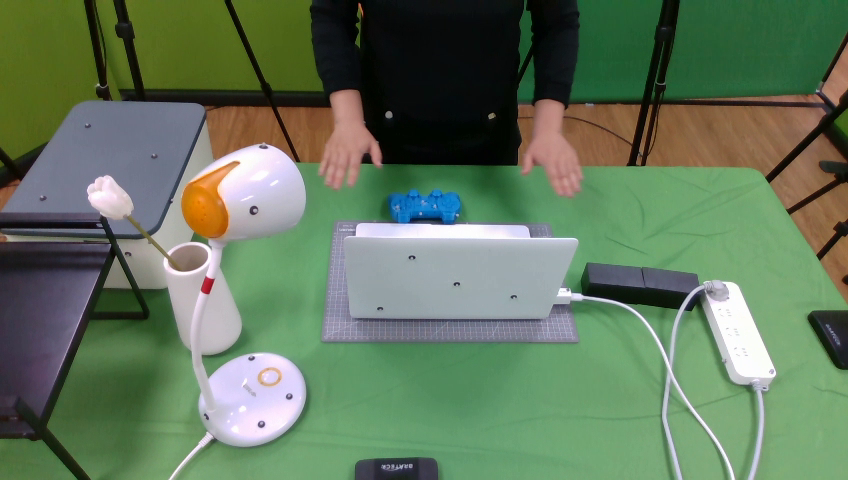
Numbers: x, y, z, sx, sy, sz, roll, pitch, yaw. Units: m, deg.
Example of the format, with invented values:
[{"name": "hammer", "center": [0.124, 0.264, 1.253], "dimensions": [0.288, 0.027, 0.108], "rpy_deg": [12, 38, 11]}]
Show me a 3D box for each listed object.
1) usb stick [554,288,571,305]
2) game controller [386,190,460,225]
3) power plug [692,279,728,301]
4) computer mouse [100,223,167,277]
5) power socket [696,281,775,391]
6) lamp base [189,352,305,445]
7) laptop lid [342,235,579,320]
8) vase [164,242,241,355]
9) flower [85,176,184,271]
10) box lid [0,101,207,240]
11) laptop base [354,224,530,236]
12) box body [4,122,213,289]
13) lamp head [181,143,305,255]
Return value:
[{"name": "usb stick", "center": [0.236, 0.103, 1.101], "dimensions": [0.059, 0.027, 0.021], "rpy_deg": [-2, 46, 1]}, {"name": "game controller", "center": [-0.001, -0.073, 1.251], "dimensions": [0.155, 0.052, 0.096], "rpy_deg": [-2, 48, -5]}, {"name": "power plug", "center": [0.522, 0.092, 1.115], "dimensions": [0.072, 0.053, 0.035], "rpy_deg": [8, 46, 7]}, {"name": "computer mouse", "center": [-0.539, 0.014, 1.123], "dimensions": [0.062, 0.041, 0.117], "rpy_deg": [30, 57, 18]}, {"name": "power socket", "center": [0.550, 0.160, 1.078], "dimensions": [0.072, 0.033, 0.225], "rpy_deg": [2, 46, -1]}, {"name": "lamp base", "center": [-0.268, 0.196, 0.876], "dimensions": [0.160, 0.181, 0.179], "rpy_deg": [26, 52, 19]}, {"name": "laptop lid", "center": [0.051, 0.067, 0.973], "dimensions": [0.357, 0.243, 0.013], "rpy_deg": [1, 52, -5]}, {"name": "vase", "center": [-0.349, 0.096, 0.954], "dimensions": [0.098, 0.201, 0.097], "rpy_deg": [3, 47, -3]}, {"name": "flower", "center": [-0.365, 0.038, 0.894], "dimensions": [0.038, 0.364, 0.044], "rpy_deg": [-6, 53, 14]}, {"name": "box lid", "center": [-0.559, -0.137, 1.084], "dimensions": [0.263, 0.015, 0.369], "rpy_deg": [2, 46, -2]}, {"name": "laptop base", "center": [0.040, 0.055, 1.149], "dimensions": [0.355, 0.023, 0.234], "rpy_deg": [1, 43, -4]}, {"name": "box body", "center": [-0.563, -0.086, 1.139], "dimensions": [0.254, 0.161, 0.361], "rpy_deg": [2, 46, -3]}, {"name": "lamp head", "center": [-0.216, -0.044, 0.697], "dimensions": [0.112, 0.113, 0.123], "rpy_deg": [23, 31, 17]}]
